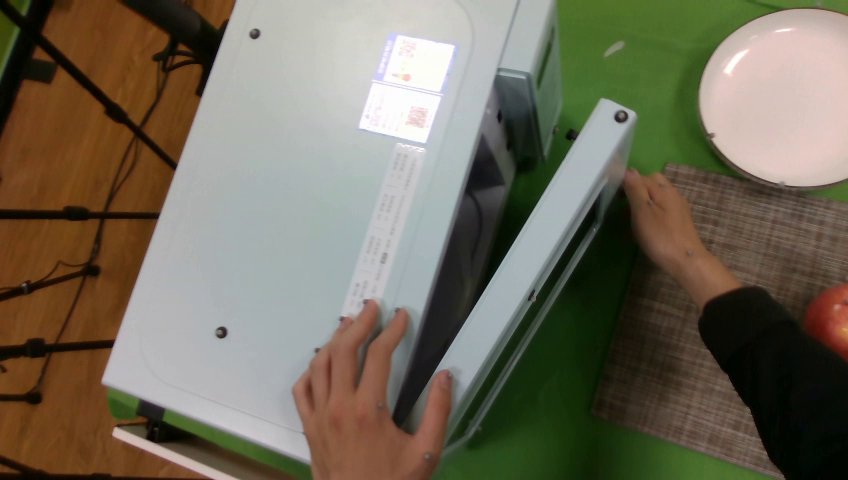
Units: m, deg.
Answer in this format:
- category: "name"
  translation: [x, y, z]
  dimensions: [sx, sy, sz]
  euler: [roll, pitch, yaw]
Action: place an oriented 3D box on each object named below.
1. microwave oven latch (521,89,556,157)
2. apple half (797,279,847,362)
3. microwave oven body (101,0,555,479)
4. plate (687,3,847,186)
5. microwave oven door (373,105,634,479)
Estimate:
- category: "microwave oven latch"
  translation: [0.135, -0.141, 0.715]
  dimensions: [0.030, 0.029, 0.079]
  euler: [15, 85, 16]
- category: "apple half"
  translation: [0.405, 0.081, 0.606]
  dimensions: [0.053, 0.075, 0.080]
  euler: [-5, 82, 18]
- category: "microwave oven body"
  translation: [-0.077, -0.027, 0.646]
  dimensions: [0.324, 0.261, 0.440]
  euler: [15, 84, 15]
- category: "plate"
  translation: [0.400, -0.158, 0.672]
  dimensions: [0.207, 0.039, 0.207]
  euler: [-2, 80, 13]
- category: "microwave oven door"
  translation: [0.087, 0.066, 0.584]
  dimensions: [0.039, 0.245, 0.355]
  euler: [32, 88, 18]
